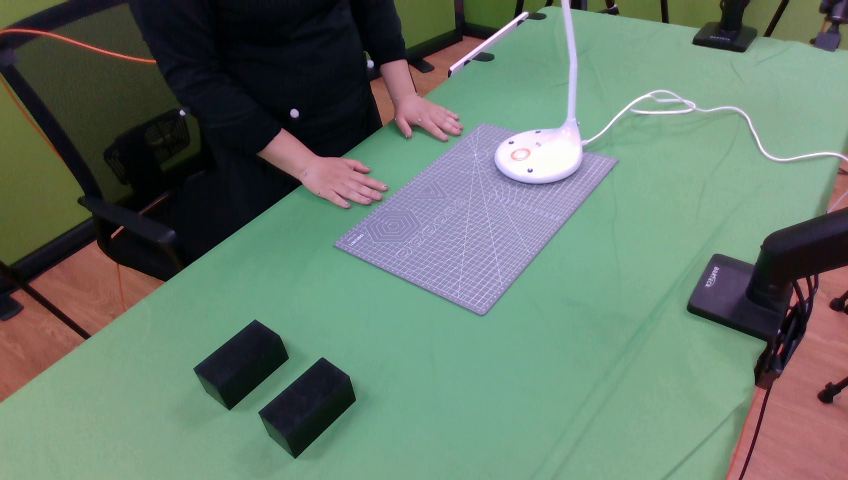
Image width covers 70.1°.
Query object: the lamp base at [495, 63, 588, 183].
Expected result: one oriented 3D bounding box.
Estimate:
[{"bbox_3d":[0.214,-0.217,1.067,0.180,0.181,0.159,-20,42,-18],"label":"lamp base"}]
